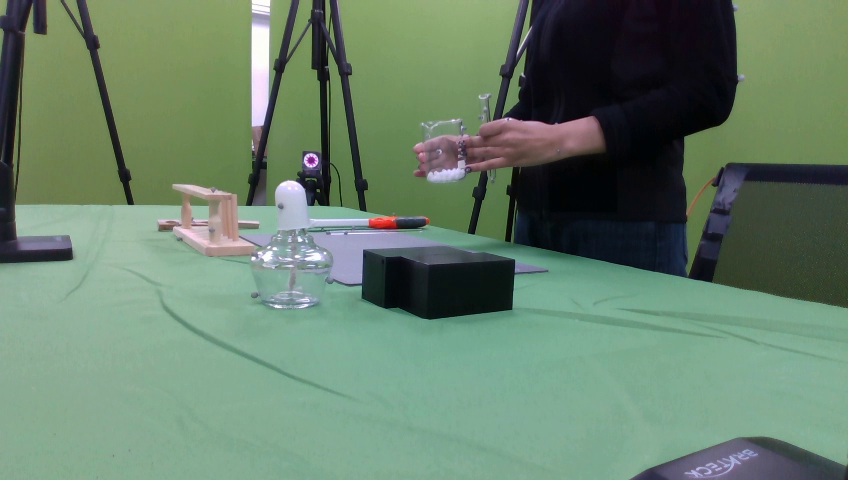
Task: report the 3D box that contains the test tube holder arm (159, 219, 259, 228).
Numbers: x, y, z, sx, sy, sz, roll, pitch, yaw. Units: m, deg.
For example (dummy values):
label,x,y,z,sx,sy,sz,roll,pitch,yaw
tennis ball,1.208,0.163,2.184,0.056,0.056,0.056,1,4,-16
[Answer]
label,x,y,z,sx,sy,sz,roll,pitch,yaw
test tube holder arm,-0.390,-0.030,1.107,0.179,0.015,0.013,-3,44,-39

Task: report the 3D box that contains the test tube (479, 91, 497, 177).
label,x,y,z,sx,sy,sz,roll,pitch,yaw
test tube,0.106,-0.170,0.990,0.017,0.150,0.017,-8,33,5

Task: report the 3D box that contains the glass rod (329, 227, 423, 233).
label,x,y,z,sx,sy,sz,roll,pitch,yaw
glass rod,-0.087,-0.019,1.148,0.201,0.008,0.008,-3,8,-32

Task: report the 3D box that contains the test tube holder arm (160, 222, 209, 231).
label,x,y,z,sx,sy,sz,roll,pitch,yaw
test tube holder arm,-0.423,-0.024,1.075,0.088,0.015,0.010,-3,44,-38

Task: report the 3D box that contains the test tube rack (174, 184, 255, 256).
label,x,y,z,sx,sy,sz,roll,pitch,yaw
test tube rack,-0.327,-0.036,0.928,0.067,0.085,0.241,-2,9,-32

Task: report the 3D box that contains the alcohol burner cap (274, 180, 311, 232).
label,x,y,z,sx,sy,sz,roll,pitch,yaw
alcohol burner cap,-0.125,-0.032,0.563,0.034,0.048,0.034,-5,6,1

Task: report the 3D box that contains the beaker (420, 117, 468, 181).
label,x,y,z,sx,sy,sz,roll,pitch,yaw
beaker,0.033,-0.151,1.004,0.073,0.100,0.084,0,14,28

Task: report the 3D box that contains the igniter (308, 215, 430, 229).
label,x,y,z,sx,sy,sz,roll,pitch,yaw
igniter,-0.109,-0.037,1.228,0.278,0.025,0.057,-3,-1,-35

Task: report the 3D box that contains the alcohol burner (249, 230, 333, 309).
label,x,y,z,sx,sy,sz,roll,pitch,yaw
alcohol burner,-0.125,0.004,0.568,0.078,0.119,0.078,2,10,0
